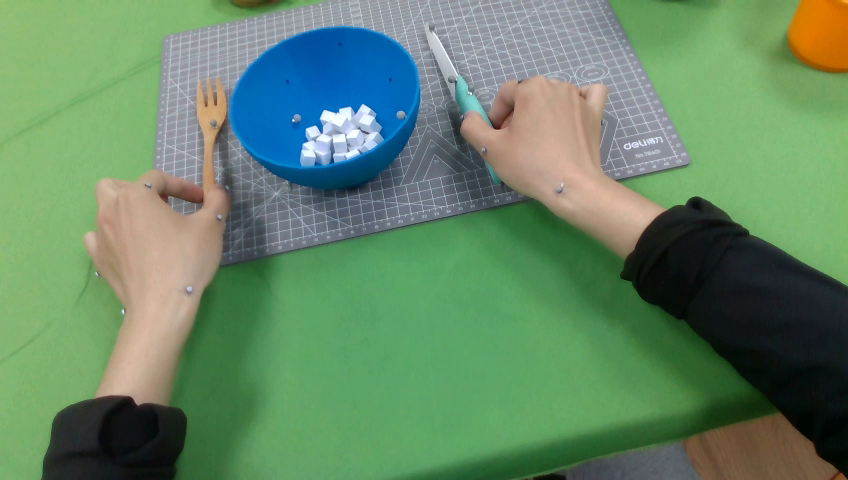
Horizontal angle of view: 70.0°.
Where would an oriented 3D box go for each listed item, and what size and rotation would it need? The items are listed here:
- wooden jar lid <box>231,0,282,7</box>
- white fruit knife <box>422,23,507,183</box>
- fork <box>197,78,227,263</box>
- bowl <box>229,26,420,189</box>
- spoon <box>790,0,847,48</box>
[{"bbox_3d":[-0.180,-0.296,0.670,0.108,0.021,0.107,-2,59,4],"label":"wooden jar lid"},{"bbox_3d":[0.030,-0.133,0.537,0.016,0.027,0.205,-7,53,-21],"label":"white fruit knife"},{"bbox_3d":[-0.187,-0.068,0.533,0.028,0.019,0.205,-9,56,-7],"label":"fork"},{"bbox_3d":[-0.073,-0.095,0.500,0.151,0.077,0.150,-3,59,6],"label":"bowl"},{"bbox_3d":[0.390,-0.214,0.473,0.022,0.193,0.041,16,56,-35],"label":"spoon"}]
